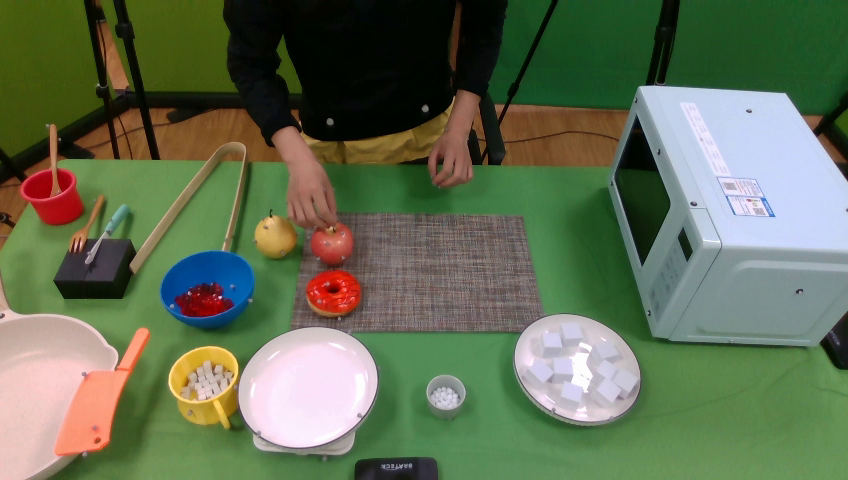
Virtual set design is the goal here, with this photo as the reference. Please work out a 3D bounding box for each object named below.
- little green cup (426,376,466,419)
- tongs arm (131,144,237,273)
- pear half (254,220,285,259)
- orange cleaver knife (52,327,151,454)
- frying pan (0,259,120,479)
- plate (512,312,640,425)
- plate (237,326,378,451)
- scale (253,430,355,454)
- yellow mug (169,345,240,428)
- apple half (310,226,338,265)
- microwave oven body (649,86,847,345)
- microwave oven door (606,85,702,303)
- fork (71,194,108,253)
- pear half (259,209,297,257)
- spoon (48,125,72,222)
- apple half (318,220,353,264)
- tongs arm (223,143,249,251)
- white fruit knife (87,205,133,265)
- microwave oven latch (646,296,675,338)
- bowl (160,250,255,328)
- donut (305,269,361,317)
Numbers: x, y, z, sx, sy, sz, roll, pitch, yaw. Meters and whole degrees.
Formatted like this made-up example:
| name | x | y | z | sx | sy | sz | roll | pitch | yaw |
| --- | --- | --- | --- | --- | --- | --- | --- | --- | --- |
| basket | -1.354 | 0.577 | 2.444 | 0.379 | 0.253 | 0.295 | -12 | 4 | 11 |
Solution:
| name | x | y | z | sx | sy | sz | roll | pitch | yaw |
| --- | --- | --- | --- | --- | --- | --- | --- | --- | --- |
| little green cup | 0.033 | 0.248 | 0.950 | 0.061 | 0.039 | 0.061 | 2 | 46 | -2 |
| tongs arm | -0.482 | -0.078 | 1.235 | 0.028 | 0.028 | 0.385 | 6 | 45 | 13 |
| pear half | -0.294 | 0.003 | 1.127 | 0.070 | 0.088 | 0.031 | 25 | 49 | 16 |
| orange cleaver knife | -0.462 | 0.212 | 0.879 | 0.077 | 0.012 | 0.210 | 6 | 45 | -1 |
| frying pan | -0.647 | 0.164 | 0.936 | 0.307 | 0.103 | 0.485 | -19 | 58 | -22 |
| plate | 0.246 | 0.213 | 0.999 | 0.208 | 0.039 | 0.206 | 2 | 46 | -2 |
| plate | -0.174 | 0.224 | 0.917 | 0.209 | 0.038 | 0.208 | 2 | 46 | -2 |
| scale | -0.175 | 0.236 | 0.951 | 0.149 | 0.032 | 0.199 | 4 | 45 | 0 |
| yellow mug | -0.322 | 0.230 | 0.922 | 0.100 | 0.064 | 0.130 | -24 | 53 | -25 |
| apple half | -0.192 | 0.017 | 1.125 | 0.033 | 0.081 | 0.081 | -25 | 53 | -30 |
| microwave oven body | 0.567 | -0.053 | 1.118 | 0.326 | 0.261 | 0.439 | 2 | 45 | -1 |
| microwave oven door | 0.422 | -0.094 | 1.140 | 0.039 | 0.245 | 0.353 | 2 | 46 | -1 |
| fork | -0.634 | -0.036 | 1.158 | 0.028 | 0.019 | 0.206 | -7 | 31 | -8 |
| pear half | -0.273 | -0.024 | 1.141 | 0.076 | 0.110 | 0.056 | 27 | 50 | 16 |
| spoon | -0.718 | -0.131 | 1.189 | 0.041 | 0.021 | 0.193 | -3 | 90 | -7 |
| apple half | -0.162 | 0.001 | 1.144 | 0.053 | 0.075 | 0.080 | -25 | 50 | -29 |
| tongs arm | -0.397 | -0.073 | 1.232 | 0.051 | 0.026 | 0.382 | -2 | 45 | 0 |
| white fruit knife | -0.584 | -0.013 | 1.129 | 0.016 | 0.027 | 0.206 | -1 | 32 | -4 |
| microwave oven latch | 0.412 | 0.134 | 1.061 | 0.030 | 0.029 | 0.078 | 4 | 45 | 1 |
| bowl | -0.362 | 0.098 | 1.040 | 0.151 | 0.077 | 0.150 | 2 | 45 | -2 |
| donut | -0.160 | 0.094 | 1.075 | 0.099 | 0.048 | 0.098 | 3 | 46 | -3 |
